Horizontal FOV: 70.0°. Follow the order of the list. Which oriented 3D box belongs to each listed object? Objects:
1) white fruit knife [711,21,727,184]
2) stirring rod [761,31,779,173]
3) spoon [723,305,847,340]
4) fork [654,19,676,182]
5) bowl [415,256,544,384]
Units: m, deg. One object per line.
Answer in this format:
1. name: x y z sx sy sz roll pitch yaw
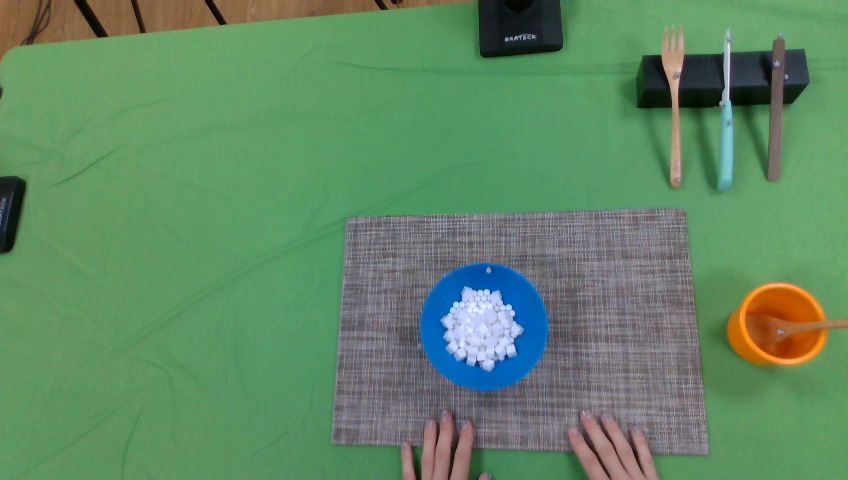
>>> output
1. white fruit knife: 0.377 -0.176 0.774 0.016 0.027 0.207 0 90 6
2. stirring rod: 0.439 -0.174 0.769 0.014 0.006 0.176 0 99 16
3. spoon: 0.425 0.084 0.659 0.022 0.193 0.041 14 71 -34
4. fork: 0.316 -0.179 0.785 0.028 0.018 0.207 -3 93 5
5. bowl: 0.069 0.101 0.737 0.151 0.077 0.150 -2 73 8
